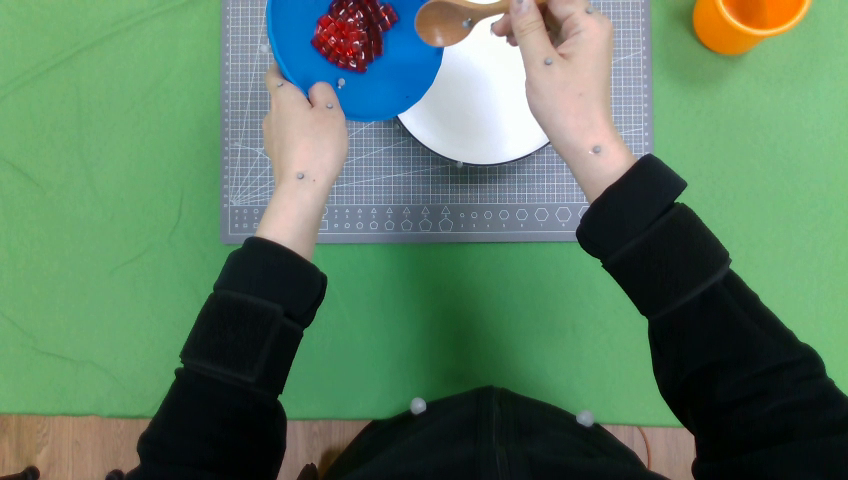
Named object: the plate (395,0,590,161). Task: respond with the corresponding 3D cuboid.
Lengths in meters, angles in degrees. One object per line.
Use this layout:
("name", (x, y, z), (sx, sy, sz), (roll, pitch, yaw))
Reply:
("plate", (0.061, -0.181, 0.616), (0.209, 0.038, 0.209), (0, 88, 2))

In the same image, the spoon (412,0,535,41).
("spoon", (0.054, -0.170, 0.429), (0.042, 0.192, 0.021), (43, 73, -31))

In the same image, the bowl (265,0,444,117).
("bowl", (-0.066, -0.180, 0.516), (0.152, 0.076, 0.152), (-5, 101, -26))
